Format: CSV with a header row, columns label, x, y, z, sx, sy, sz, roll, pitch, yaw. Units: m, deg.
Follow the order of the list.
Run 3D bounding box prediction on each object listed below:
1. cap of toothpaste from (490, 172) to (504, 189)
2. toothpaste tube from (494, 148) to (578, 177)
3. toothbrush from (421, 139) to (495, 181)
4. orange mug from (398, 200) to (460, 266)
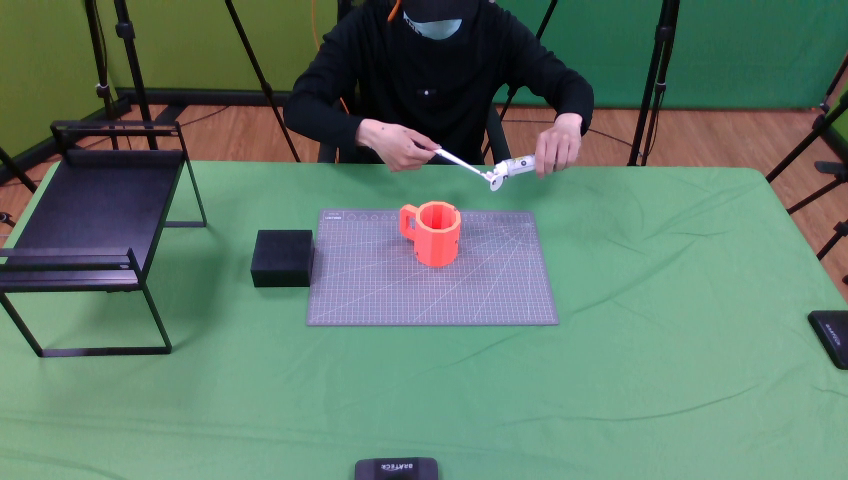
label,x,y,z,sx,sy,sz,roll,pitch,yaw
cap of toothpaste,0.139,-0.116,1.172,0.037,0.037,0.011,-33,55,-30
toothpaste tube,0.217,-0.155,1.192,0.165,0.035,0.055,-15,29,-4
toothbrush,0.068,-0.164,1.226,0.181,0.017,0.014,31,55,19
orange mug,0.007,-0.020,1.161,0.126,0.101,0.083,27,50,15
